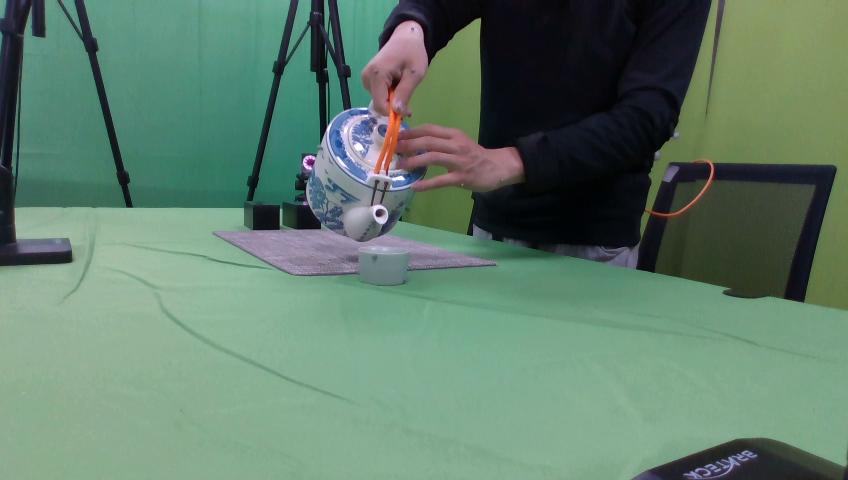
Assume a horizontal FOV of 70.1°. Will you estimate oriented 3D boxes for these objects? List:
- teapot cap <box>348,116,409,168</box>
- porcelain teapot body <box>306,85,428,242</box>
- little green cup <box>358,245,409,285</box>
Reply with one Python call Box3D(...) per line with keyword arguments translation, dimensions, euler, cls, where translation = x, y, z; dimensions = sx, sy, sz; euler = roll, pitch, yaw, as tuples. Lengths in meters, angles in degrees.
Box3D(translation=(-0.058, -0.132, 0.793), dimensions=(0.085, 0.085, 0.043), euler=(-1, -28, -26), cls="teapot cap")
Box3D(translation=(-0.068, -0.085, 0.808), dimensions=(0.146, 0.205, 0.225), euler=(8, -34, -21), cls="porcelain teapot body")
Box3D(translation=(-0.048, 0.029, 0.707), dimensions=(0.061, 0.038, 0.061), euler=(2, 8, 0), cls="little green cup")
